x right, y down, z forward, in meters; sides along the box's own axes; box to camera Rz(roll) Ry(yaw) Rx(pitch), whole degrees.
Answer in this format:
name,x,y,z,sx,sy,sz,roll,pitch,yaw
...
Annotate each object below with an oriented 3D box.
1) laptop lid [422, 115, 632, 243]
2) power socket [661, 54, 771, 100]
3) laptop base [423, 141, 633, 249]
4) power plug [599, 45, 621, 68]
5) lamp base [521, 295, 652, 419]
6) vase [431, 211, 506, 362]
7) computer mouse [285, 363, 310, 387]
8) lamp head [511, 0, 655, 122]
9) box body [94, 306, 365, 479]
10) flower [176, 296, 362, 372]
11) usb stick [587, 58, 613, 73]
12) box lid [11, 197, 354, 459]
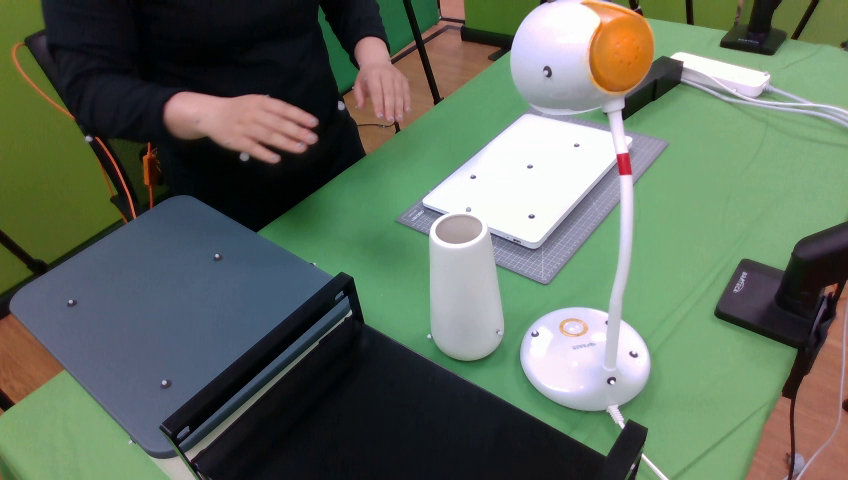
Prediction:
name,x,y,z,sx,sy,sz,roll,pitch,yaw
laptop lid,0.190,-0.126,1.081,0.239,0.013,0.358,23,48,34
power socket,0.615,-0.348,1.285,0.072,0.033,0.225,-36,48,-29
laptop base,0.194,-0.117,1.087,0.233,0.023,0.355,21,48,34
power plug,0.436,-0.422,1.413,0.053,0.035,0.072,-18,75,-47
lamp base,0.201,0.095,0.710,0.161,0.181,0.177,-16,43,-10
vase,0.054,0.062,0.757,0.098,0.201,0.097,-3,40,3
computer mouse,-0.161,0.158,0.791,0.116,0.041,0.063,26,46,23
lamp head,0.155,-0.168,0.564,0.113,0.113,0.122,-18,23,-12
box body,-0.282,0.128,0.759,0.361,0.161,0.255,24,49,32
flower,-0.232,0.115,0.833,0.359,0.038,0.044,10,87,33
usb stick,0.401,-0.399,1.381,0.059,0.027,0.021,0,49,20
box lid,-0.288,0.072,0.710,0.368,0.015,0.264,25,50,32
